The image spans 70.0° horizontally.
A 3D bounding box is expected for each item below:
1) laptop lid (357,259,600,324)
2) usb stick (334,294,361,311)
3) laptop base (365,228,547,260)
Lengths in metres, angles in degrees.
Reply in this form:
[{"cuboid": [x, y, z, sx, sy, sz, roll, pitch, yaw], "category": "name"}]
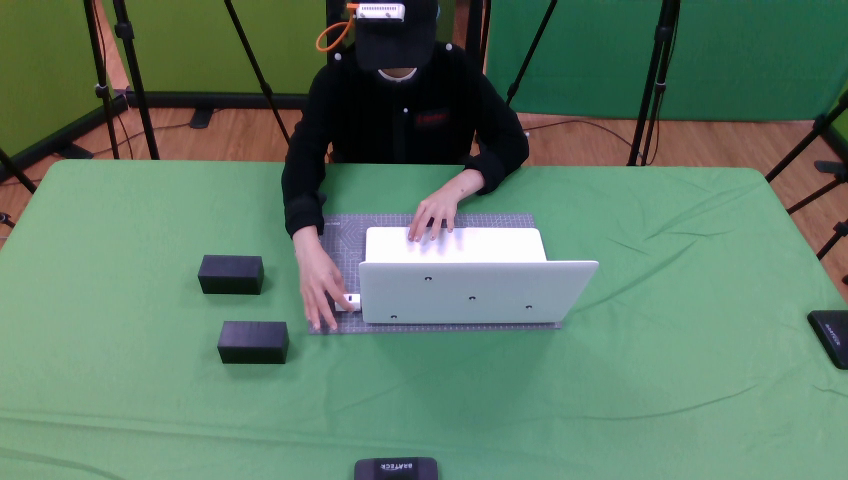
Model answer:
[{"cuboid": [0.075, 0.087, 0.959, 0.357, 0.242, 0.013, 1, 60, -5], "category": "laptop lid"}, {"cuboid": [-0.129, 0.111, 1.066, 0.059, 0.027, 0.021, 2, 46, -6], "category": "usb stick"}, {"cuboid": [0.064, 0.062, 1.144, 0.355, 0.023, 0.234, 0, 42, -4], "category": "laptop base"}]
